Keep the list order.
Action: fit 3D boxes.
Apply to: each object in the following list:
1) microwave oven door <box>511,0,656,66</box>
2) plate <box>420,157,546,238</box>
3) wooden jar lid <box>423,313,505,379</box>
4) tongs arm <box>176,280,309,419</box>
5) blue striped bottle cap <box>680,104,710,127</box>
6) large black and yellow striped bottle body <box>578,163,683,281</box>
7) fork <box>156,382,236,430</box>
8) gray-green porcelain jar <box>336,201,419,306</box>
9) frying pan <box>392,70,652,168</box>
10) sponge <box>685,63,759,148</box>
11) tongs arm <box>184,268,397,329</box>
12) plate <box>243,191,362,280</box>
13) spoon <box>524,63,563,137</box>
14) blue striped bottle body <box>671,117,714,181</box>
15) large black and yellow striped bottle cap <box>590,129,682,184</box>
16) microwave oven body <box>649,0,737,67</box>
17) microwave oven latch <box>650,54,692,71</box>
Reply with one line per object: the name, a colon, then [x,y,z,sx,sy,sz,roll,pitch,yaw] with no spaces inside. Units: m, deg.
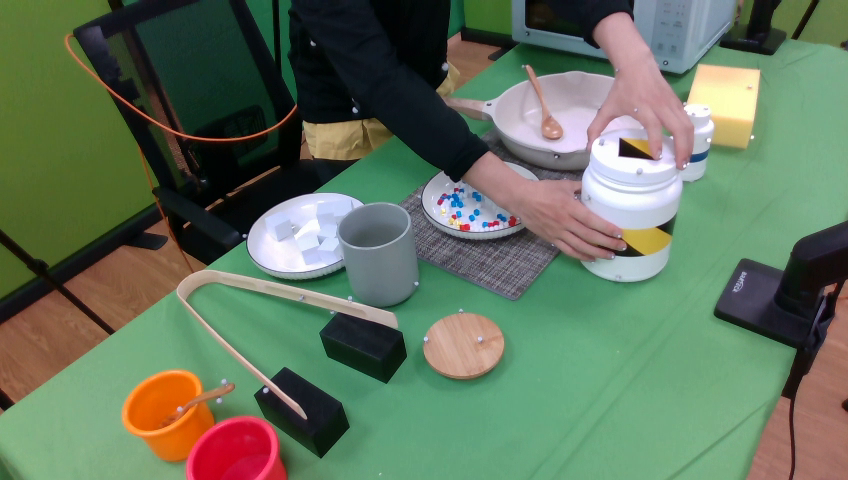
microwave oven door: [0.351,-0.540,1.349,0.353,0.245,0.039,24,50,31]
plate: [0.100,-0.068,1.017,0.209,0.038,0.208,-4,40,4]
wooden jar lid: [0.053,0.142,0.800,0.108,0.021,0.108,-5,39,4]
tongs arm: [-0.254,0.133,0.801,0.028,0.028,0.384,-41,41,-23]
blue striped bottle cap: [0.443,-0.205,0.989,0.044,0.021,0.044,-1,41,2]
large black and yellow striped bottle body: [0.290,-0.046,0.858,0.131,0.185,0.130,-4,41,4]
fork: [-0.262,0.189,0.690,0.018,0.206,0.028,49,43,-7]
gray-green porcelain jar: [-0.064,0.024,0.872,0.106,0.127,0.105,-4,41,4]
frying pan: [0.176,-0.248,1.165,0.487,0.103,0.306,12,42,9]
sponge: [0.569,-0.263,1.164,0.117,0.061,0.207,12,45,22]
tongs arm: [-0.202,0.084,0.848,0.382,0.027,0.051,11,45,35]
plate: [-0.187,-0.005,0.992,0.207,0.039,0.206,-3,41,3]
spoon: [0.234,-0.281,1.203,0.041,0.022,0.192,-14,68,0]
blue striped bottle body: [0.449,-0.165,1.022,0.063,0.121,0.063,-5,41,4]
large black and yellow striped bottle cap: [0.280,-0.113,0.801,0.115,0.019,0.114,-1,40,2]
microwave oven body: [0.475,-0.602,1.411,0.438,0.261,0.327,23,50,32]
microwave oven latch: [0.530,-0.386,1.301,0.078,0.029,0.030,23,50,32]
